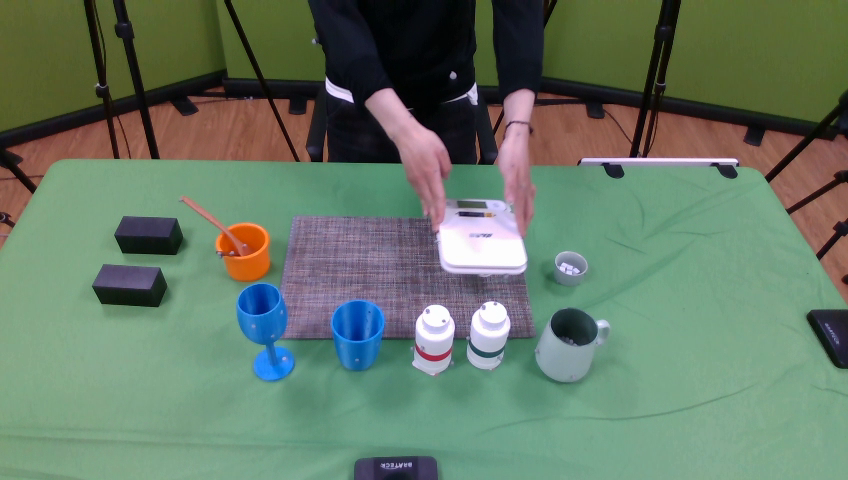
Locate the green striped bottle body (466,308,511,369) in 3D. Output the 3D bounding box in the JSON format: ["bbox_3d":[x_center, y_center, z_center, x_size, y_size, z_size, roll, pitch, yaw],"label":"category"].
[{"bbox_3d":[0.105,0.154,0.988,0.063,0.120,0.063,2,46,-2],"label":"green striped bottle body"}]

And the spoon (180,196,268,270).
[{"bbox_3d":[-0.360,-0.014,1.094,0.021,0.194,0.041,-27,26,31],"label":"spoon"}]

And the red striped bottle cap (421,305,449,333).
[{"bbox_3d":[0.017,0.122,0.938,0.044,0.018,0.044,3,44,-2],"label":"red striped bottle cap"}]

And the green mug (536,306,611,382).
[{"bbox_3d":[0.250,0.167,0.996,0.125,0.105,0.092,-15,48,-19],"label":"green mug"}]

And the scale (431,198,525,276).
[{"bbox_3d":[0.093,-0.015,1.079,0.149,0.032,0.199,2,43,-8],"label":"scale"}]

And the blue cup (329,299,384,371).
[{"bbox_3d":[-0.109,0.160,0.979,0.093,0.100,0.092,4,45,-3],"label":"blue cup"}]

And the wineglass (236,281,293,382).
[{"bbox_3d":[-0.243,0.143,0.934,0.074,0.173,0.073,2,46,-2],"label":"wineglass"}]

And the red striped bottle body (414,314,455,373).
[{"bbox_3d":[0.016,0.158,0.977,0.063,0.120,0.062,2,46,-1],"label":"red striped bottle body"}]

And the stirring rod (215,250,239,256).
[{"bbox_3d":[-0.339,0.024,1.059,0.014,0.176,0.006,17,86,-6],"label":"stirring rod"}]

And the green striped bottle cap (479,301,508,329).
[{"bbox_3d":[0.109,0.118,0.950,0.044,0.020,0.044,2,46,-2],"label":"green striped bottle cap"}]

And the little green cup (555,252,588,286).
[{"bbox_3d":[0.277,0.057,1.151,0.061,0.039,0.061,1,45,0],"label":"little green cup"}]
